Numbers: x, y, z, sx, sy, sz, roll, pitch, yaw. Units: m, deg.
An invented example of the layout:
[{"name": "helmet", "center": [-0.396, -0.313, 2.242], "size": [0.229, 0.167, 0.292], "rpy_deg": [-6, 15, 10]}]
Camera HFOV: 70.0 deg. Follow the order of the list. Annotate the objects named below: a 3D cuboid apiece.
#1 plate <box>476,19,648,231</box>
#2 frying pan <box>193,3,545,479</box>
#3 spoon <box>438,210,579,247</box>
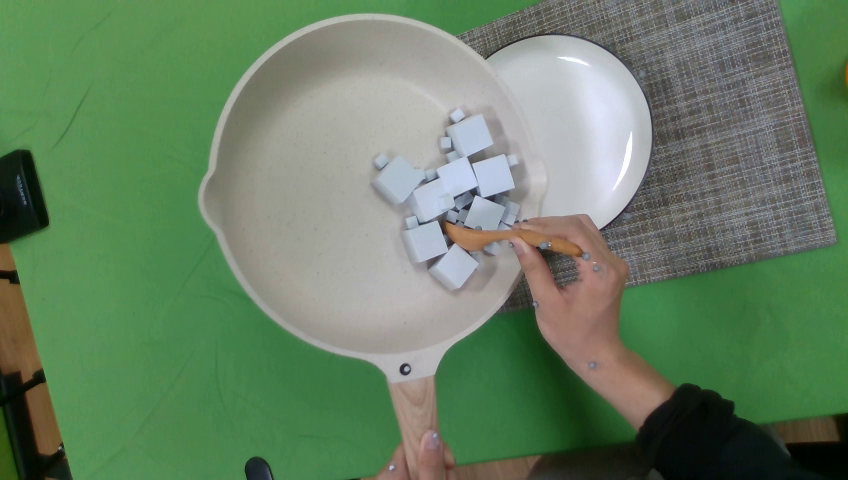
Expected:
[{"name": "plate", "center": [0.116, -0.110, 0.608], "size": [0.207, 0.039, 0.208], "rpy_deg": [2, 97, 21]}, {"name": "frying pan", "center": [-0.025, 0.050, 0.528], "size": [0.308, 0.102, 0.486], "rpy_deg": [-6, 84, -19]}, {"name": "spoon", "center": [0.063, -0.010, 0.509], "size": [0.042, 0.192, 0.021], "rpy_deg": [45, 72, -23]}]
